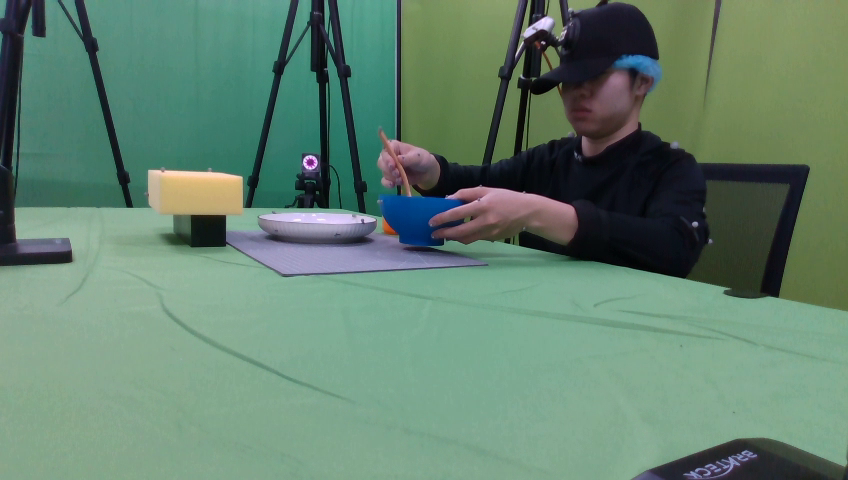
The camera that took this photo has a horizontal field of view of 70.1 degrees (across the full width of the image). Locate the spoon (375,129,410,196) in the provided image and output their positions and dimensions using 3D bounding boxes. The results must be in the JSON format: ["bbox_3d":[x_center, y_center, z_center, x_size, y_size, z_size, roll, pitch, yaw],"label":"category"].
[{"bbox_3d":[-0.036,-0.095,0.983,0.021,0.193,0.041,-22,-7,2],"label":"spoon"}]

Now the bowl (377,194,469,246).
[{"bbox_3d":[-0.004,-0.032,0.981,0.151,0.077,0.151,3,4,0],"label":"bowl"}]

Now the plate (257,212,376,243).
[{"bbox_3d":[-0.189,-0.023,1.072,0.209,0.038,0.209,3,7,0],"label":"plate"}]

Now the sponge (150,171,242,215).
[{"bbox_3d":[-0.379,-0.079,0.994,0.119,0.061,0.206,-1,8,-29],"label":"sponge"}]
